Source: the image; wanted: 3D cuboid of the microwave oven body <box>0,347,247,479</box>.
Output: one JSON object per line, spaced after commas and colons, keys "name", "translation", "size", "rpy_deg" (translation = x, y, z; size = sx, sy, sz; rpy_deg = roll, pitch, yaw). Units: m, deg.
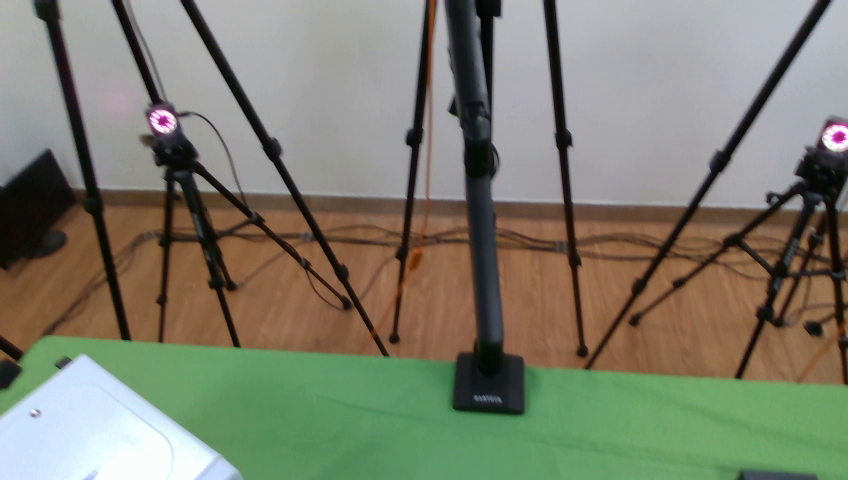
{"name": "microwave oven body", "translation": [-0.456, 0.401, 0.699], "size": [0.323, 0.262, 0.440], "rpy_deg": [23, 49, 26]}
